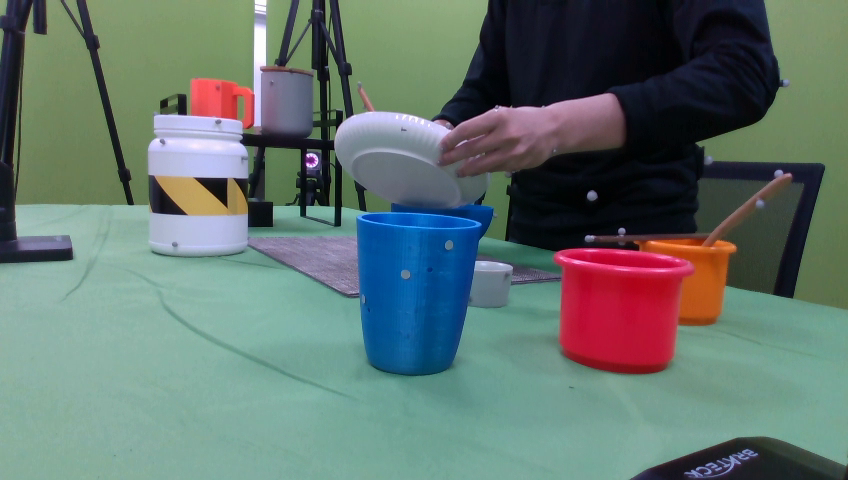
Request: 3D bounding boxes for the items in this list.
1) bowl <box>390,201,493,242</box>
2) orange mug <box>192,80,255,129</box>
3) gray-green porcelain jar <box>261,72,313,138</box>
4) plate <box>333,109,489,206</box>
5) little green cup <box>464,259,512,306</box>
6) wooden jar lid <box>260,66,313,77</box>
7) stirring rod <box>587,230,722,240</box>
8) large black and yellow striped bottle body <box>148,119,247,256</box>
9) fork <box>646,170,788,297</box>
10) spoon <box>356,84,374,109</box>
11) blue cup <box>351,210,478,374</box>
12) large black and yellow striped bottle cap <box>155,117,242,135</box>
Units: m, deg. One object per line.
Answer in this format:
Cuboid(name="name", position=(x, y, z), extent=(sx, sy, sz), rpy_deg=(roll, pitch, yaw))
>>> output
Cuboid(name="bowl", position=(0.023, -0.016, 0.874), extent=(0.151, 0.077, 0.151), rpy_deg=(3, 7, 0))
Cuboid(name="orange mug", position=(-0.389, -0.257, 1.172), extent=(0.126, 0.100, 0.083), rpy_deg=(-1, 6, 9))
Cuboid(name="gray-green porcelain jar", position=(-0.284, -0.276, 1.253), extent=(0.106, 0.126, 0.106), rpy_deg=(2, 8, 0))
Cuboid(name="plate", position=(-0.021, -0.091, 0.779), extent=(0.209, 0.038, 0.209), rpy_deg=(14, -21, 6))
Cuboid(name="little green cup", position=(0.057, 0.043, 0.611), extent=(0.061, 0.038, 0.061), rpy_deg=(3, 8, 0))
Cuboid(name="wooden jar lid", position=(-0.283, -0.339, 1.244), extent=(0.108, 0.020, 0.108), rpy_deg=(6, 9, -1))
Cuboid(name="stirring rod", position=(0.227, -0.006, 0.585), extent=(0.177, 0.006, 0.014), rpy_deg=(-2, 7, -28))
Cuboid(name="large black and yellow striped bottle body", position=(-0.318, -0.076, 0.855), extent=(0.131, 0.184, 0.130), rpy_deg=(2, 7, 0))
Cuboid(name="fork", position=(0.256, 0.004, 0.543), extent=(0.028, 0.018, 0.207), rpy_deg=(3, -36, -9))
Cuboid(name="spoon", position=(-0.058, -0.141, 0.864), extent=(0.021, 0.193, 0.042), rpy_deg=(-21, -13, 2))
Cuboid(name="blue cup", position=(-0.009, 0.034, 0.414), extent=(0.093, 0.100, 0.092), rpy_deg=(4, 8, 0))
Cuboid(name="large black and yellow striped bottle cap", position=(-0.313, -0.159, 0.845), extent=(0.115, 0.019, 0.115), rpy_deg=(3, 9, 0))
